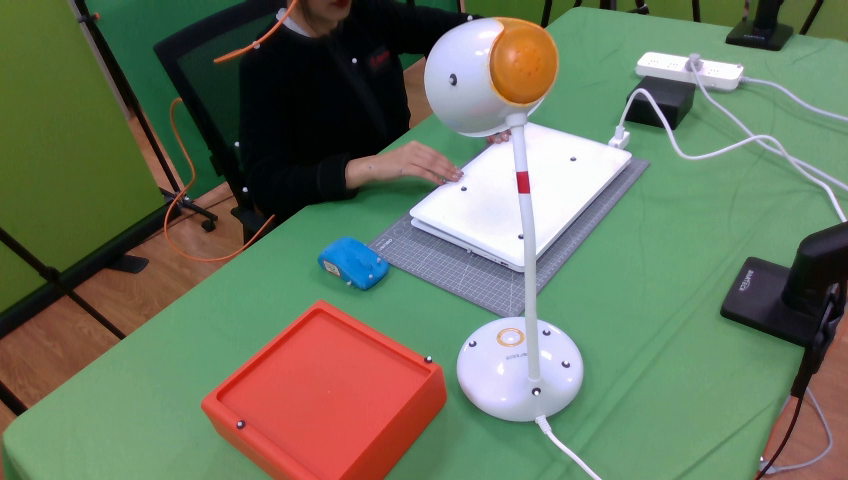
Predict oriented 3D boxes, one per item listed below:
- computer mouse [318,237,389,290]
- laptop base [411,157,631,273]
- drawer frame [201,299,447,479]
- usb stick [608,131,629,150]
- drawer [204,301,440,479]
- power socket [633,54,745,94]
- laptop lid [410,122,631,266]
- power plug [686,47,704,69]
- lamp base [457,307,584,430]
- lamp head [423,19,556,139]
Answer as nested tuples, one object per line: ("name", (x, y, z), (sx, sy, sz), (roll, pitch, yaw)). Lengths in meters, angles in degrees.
("computer mouse", (-0.113, 0.033, 0.959), (0.116, 0.041, 0.063), (28, 51, 31))
("laptop base", (0.175, -0.082, 1.055), (0.233, 0.023, 0.355), (22, 49, 36))
("drawer frame", (-0.117, 0.193, 0.733), (0.212, 0.083, 0.202), (23, 48, 31))
("usb stick", (0.354, -0.174, 1.109), (0.021, 0.027, 0.059), (24, 51, 31))
("drawer", (-0.120, 0.193, 0.735), (0.210, 0.073, 0.195), (23, 49, 32))
("power socket", (0.563, -0.358, 1.295), (0.225, 0.033, 0.072), (21, 50, 30))
("laptop lid", (0.171, -0.099, 1.042), (0.239, 0.013, 0.358), (27, 51, 33))
("power plug", (0.564, -0.384, 1.248), (0.035, 0.073, 0.052), (22, 71, 15))
("lamp base", (0.115, 0.108, 0.713), (0.161, 0.181, 0.178), (-16, 42, -8))
("lamp head", (0.068, -0.151, 0.563), (0.113, 0.113, 0.122), (-21, 18, -13))
